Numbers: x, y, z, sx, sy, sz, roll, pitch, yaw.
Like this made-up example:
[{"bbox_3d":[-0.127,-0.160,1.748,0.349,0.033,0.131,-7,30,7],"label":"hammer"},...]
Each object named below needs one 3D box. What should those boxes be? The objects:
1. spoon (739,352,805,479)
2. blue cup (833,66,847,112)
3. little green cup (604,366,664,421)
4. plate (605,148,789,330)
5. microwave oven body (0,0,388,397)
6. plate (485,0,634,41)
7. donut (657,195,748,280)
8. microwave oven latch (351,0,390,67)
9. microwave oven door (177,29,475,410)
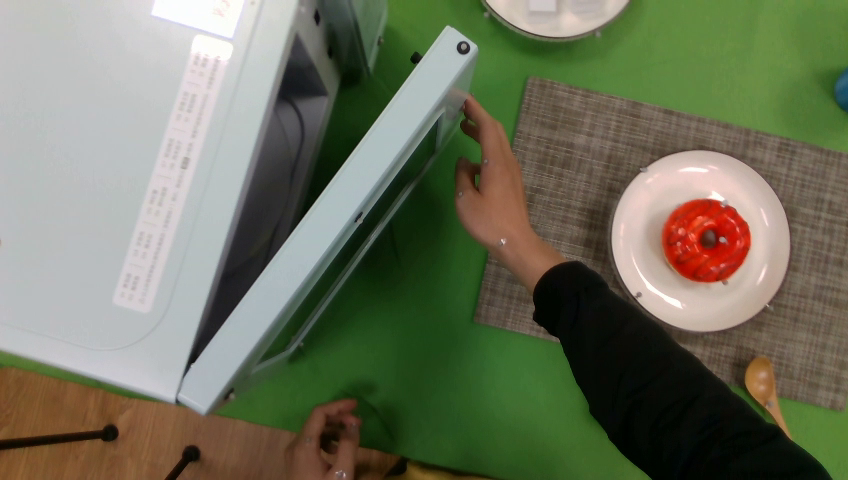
[{"bbox_3d":[0.411,0.221,0.703,0.042,0.021,0.193,-23,89,-19],"label":"spoon"},{"bbox_3d":[0.527,-0.183,0.687,0.093,0.100,0.092,0,89,-1],"label":"blue cup"},{"bbox_3d":[0.238,0.174,0.696,0.061,0.038,0.061,0,85,-1],"label":"little green cup"},{"bbox_3d":[0.311,-0.002,0.702,0.209,0.038,0.209,0,88,-1],"label":"plate"},{"bbox_3d":[-0.254,-0.121,0.585,0.326,0.260,0.441,17,88,-1],"label":"microwave oven body"},{"bbox_3d":[0.158,-0.334,0.718,0.208,0.039,0.207,0,87,-1],"label":"plate"},{"bbox_3d":[0.316,-0.003,0.691,0.099,0.048,0.099,0,88,1],"label":"donut"},{"bbox_3d":[-0.062,-0.242,0.691,0.030,0.029,0.079,19,88,0],"label":"microwave oven latch"},{"bbox_3d":[-0.076,-0.012,0.579,0.039,0.244,0.355,36,87,2],"label":"microwave oven door"}]
